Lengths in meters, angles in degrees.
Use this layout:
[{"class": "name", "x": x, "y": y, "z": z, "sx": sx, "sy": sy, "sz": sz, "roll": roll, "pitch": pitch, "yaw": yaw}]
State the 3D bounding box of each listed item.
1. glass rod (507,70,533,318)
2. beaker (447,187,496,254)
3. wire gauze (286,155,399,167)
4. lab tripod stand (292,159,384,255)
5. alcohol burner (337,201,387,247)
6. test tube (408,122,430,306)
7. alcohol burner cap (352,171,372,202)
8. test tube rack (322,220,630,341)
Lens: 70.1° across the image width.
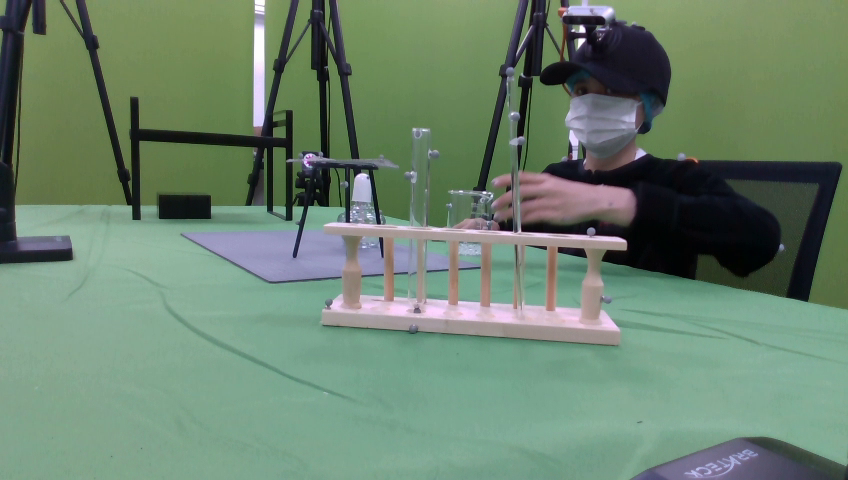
[{"class": "glass rod", "x": 0.076, "y": -0.031, "z": 0.476, "sx": 0.008, "sy": 0.199, "sz": 0.008, "roll": -6, "pitch": 12, "yaw": 2}, {"class": "beaker", "x": 0.076, "y": -0.031, "z": 0.949, "sx": 0.074, "sy": 0.100, "sz": 0.083, "roll": -6, "pitch": 11, "yaw": -42}, {"class": "wire gauze", "x": -0.101, "y": -0.105, "z": 0.788, "sx": 0.121, "sy": 0.011, "sz": 0.125, "roll": 4, "pitch": 6, "yaw": 6}, {"class": "lab tripod stand", "x": -0.105, "y": -0.039, "z": 0.797, "sx": 0.148, "sy": 0.131, "sz": 0.148, "roll": 2, "pitch": 5, "yaw": 0}, {"class": "alcohol burner", "x": -0.098, "y": -0.049, "z": 0.954, "sx": 0.078, "sy": 0.119, "sz": 0.078, "roll": 0, "pitch": 7, "yaw": 0}, {"class": "test tube", "x": -0.004, "y": -0.019, "z": 0.489, "sx": 0.017, "sy": 0.150, "sz": 0.017, "roll": 1, "pitch": 11, "yaw": 0}, {"class": "alcohol burner cap", "x": -0.096, "y": -0.084, "z": 0.951, "sx": 0.034, "sy": 0.048, "sz": 0.034, "roll": 5, "pitch": 5, "yaw": 0}, {"class": "test tube rack", "x": 0.041, "y": 0.029, "z": 0.512, "sx": 0.242, "sy": 0.085, "sz": 0.067, "roll": 3, "pitch": 7, "yaw": 5}]
